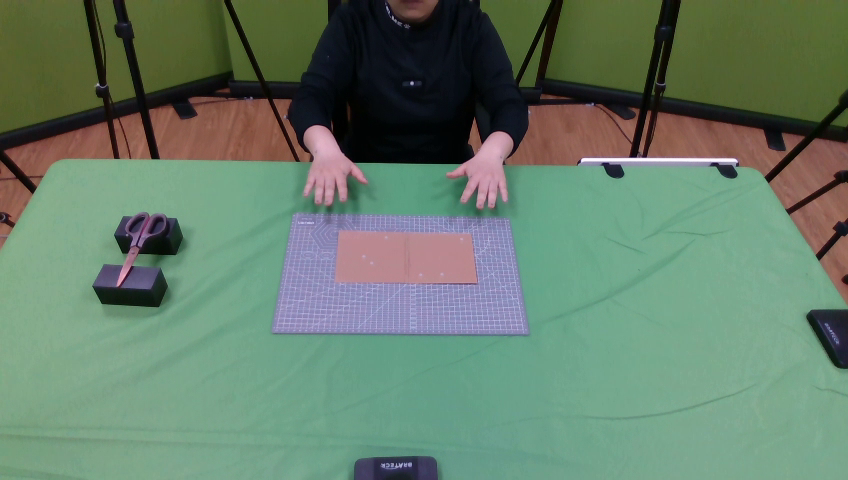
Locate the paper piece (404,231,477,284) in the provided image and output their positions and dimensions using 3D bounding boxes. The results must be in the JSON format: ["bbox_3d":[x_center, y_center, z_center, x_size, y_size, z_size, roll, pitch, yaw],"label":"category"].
[{"bbox_3d":[0.030,0.033,1.174,0.138,0.009,0.135,2,49,-3],"label":"paper piece"}]

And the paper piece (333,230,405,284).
[{"bbox_3d":[-0.104,0.031,1.165,0.135,0.004,0.135,2,47,-4],"label":"paper piece"}]

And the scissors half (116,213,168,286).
[{"bbox_3d":[-0.504,0.015,1.082,0.040,0.013,0.174,10,48,5],"label":"scissors half"}]

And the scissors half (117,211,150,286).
[{"bbox_3d":[-0.524,0.013,1.080,0.040,0.013,0.174,1,48,-11],"label":"scissors half"}]
